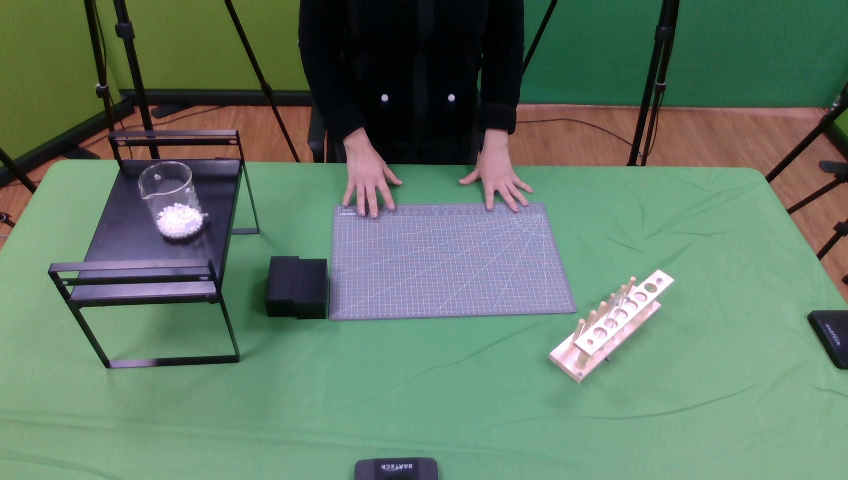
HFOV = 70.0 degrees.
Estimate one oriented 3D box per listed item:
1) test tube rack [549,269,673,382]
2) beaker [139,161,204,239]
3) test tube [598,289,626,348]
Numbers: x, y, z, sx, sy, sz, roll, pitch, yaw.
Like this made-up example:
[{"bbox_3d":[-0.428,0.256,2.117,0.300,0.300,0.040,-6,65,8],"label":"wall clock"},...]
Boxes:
[{"bbox_3d":[0.325,0.134,1.047,0.242,0.085,0.066,-32,56,-30],"label":"test tube rack"},{"bbox_3d":[-0.381,-0.056,0.920,0.074,0.101,0.084,22,49,18],"label":"beaker"},{"bbox_3d":[0.302,0.130,0.982,0.017,0.151,0.017,0,47,0],"label":"test tube"}]
